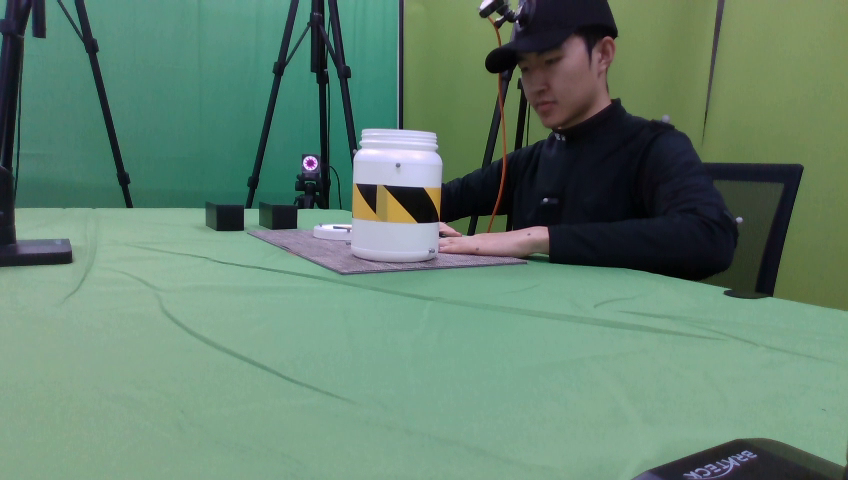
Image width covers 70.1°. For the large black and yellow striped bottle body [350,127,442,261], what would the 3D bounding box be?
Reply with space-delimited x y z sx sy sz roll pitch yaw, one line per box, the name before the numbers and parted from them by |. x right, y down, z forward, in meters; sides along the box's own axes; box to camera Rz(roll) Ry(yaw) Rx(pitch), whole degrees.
large black and yellow striped bottle body | -0.040 -0.068 0.881 0.131 0.184 0.130 2 7 0

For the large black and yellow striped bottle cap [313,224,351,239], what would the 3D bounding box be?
large black and yellow striped bottle cap | -0.145 -0.016 1.107 0.115 0.019 0.115 3 7 0
